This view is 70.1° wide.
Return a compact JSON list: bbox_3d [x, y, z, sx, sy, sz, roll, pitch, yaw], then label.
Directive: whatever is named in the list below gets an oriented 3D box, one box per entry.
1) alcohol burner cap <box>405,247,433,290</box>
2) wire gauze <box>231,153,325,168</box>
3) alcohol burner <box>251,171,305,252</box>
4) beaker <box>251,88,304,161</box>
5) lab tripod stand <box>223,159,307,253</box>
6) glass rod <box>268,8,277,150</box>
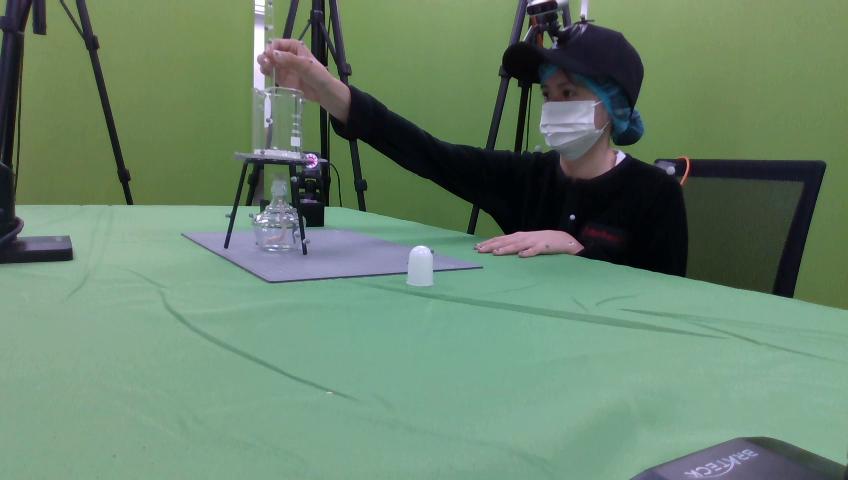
[{"bbox_3d":[-0.005,0.031,0.698,0.034,0.048,0.034,3,8,0],"label":"alcohol burner cap"},{"bbox_3d":[-0.215,-0.117,0.882,0.125,0.011,0.121,3,7,-19],"label":"wire gauze"},{"bbox_3d":[-0.214,-0.042,0.888,0.078,0.119,0.078,2,9,0],"label":"alcohol burner"},{"bbox_3d":[-0.214,-0.165,0.874,0.074,0.100,0.084,4,6,15],"label":"beaker"},{"bbox_3d":[-0.220,-0.053,0.896,0.148,0.131,0.148,1,6,0],"label":"lab tripod stand"},{"bbox_3d":[-0.220,-0.231,0.879,0.008,0.199,0.008,2,14,0],"label":"glass rod"}]
